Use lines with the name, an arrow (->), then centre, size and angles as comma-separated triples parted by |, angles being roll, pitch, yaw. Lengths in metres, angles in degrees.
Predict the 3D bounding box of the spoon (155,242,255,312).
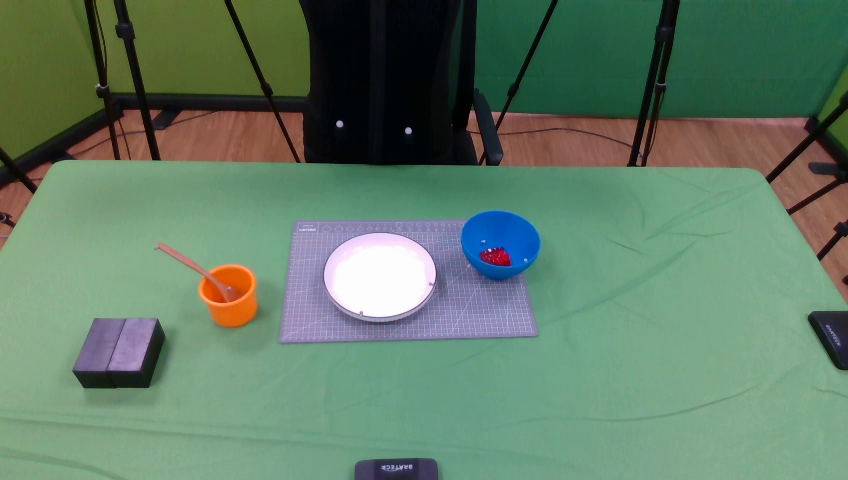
spoon -> -0.366, 0.061, 1.021 | 0.021, 0.195, 0.041 | -27, 32, 32

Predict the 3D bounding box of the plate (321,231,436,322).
plate -> -0.083, 0.070, 1.109 | 0.209, 0.038, 0.208 | 3, 46, -3

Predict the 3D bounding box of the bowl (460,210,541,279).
bowl -> 0.140, 0.021, 1.145 | 0.151, 0.077, 0.150 | 2, 46, -2
